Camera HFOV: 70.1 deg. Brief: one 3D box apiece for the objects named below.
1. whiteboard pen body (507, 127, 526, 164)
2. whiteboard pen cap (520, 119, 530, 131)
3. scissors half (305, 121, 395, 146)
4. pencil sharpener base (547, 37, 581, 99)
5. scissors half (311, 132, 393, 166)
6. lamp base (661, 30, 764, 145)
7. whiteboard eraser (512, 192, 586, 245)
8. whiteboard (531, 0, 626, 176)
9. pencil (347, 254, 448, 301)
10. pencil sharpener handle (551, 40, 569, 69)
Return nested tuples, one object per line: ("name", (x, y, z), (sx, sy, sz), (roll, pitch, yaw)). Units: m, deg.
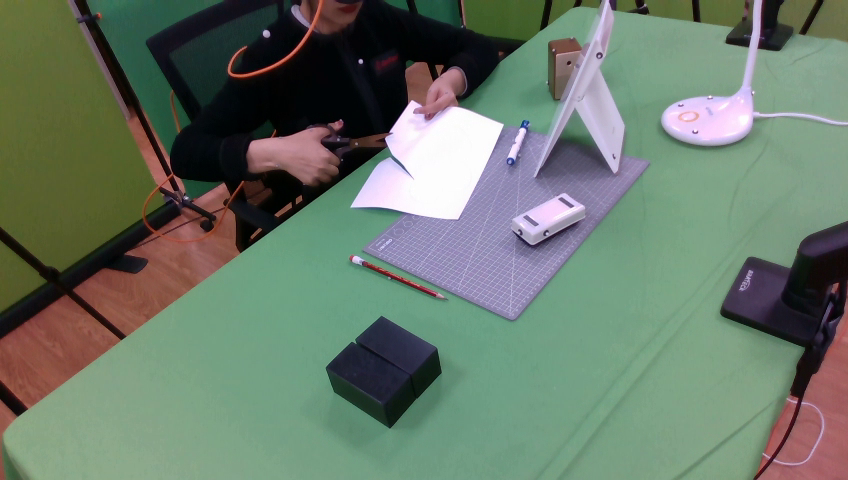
("whiteboard pen body", (0.181, -0.189, 1.163), (0.017, 0.017, 0.140), (7, 42, 19))
("whiteboard pen cap", (0.200, -0.226, 1.204), (0.018, 0.018, 0.033), (7, 41, 18))
("scissors half", (-0.143, -0.200, 1.167), (0.175, 0.040, 0.013), (10, 40, -5))
("pencil sharpener base", (0.300, -0.368, 1.290), (0.061, 0.107, 0.076), (-8, 40, 2))
("scissors half", (-0.140, -0.181, 1.181), (0.175, 0.040, 0.012), (-18, 32, 15))
("lamp base", (0.535, -0.287, 1.096), (0.179, 0.181, 0.159), (-10, 40, -4))
("whiteboard eraser", (0.199, -0.032, 0.962), (0.113, 0.042, 0.055), (-27, 43, -20))
("whiteboard", (0.321, -0.258, 1.050), (0.144, 0.306, 0.217), (22, 45, 5))
("pencil", (-0.044, 0.058, 0.933), (0.192, 0.012, 0.012), (22, 49, 28))
("pencil sharpener handle", (0.291, -0.409, 1.321), (0.036, 0.068, 0.030), (2, 40, -6))
